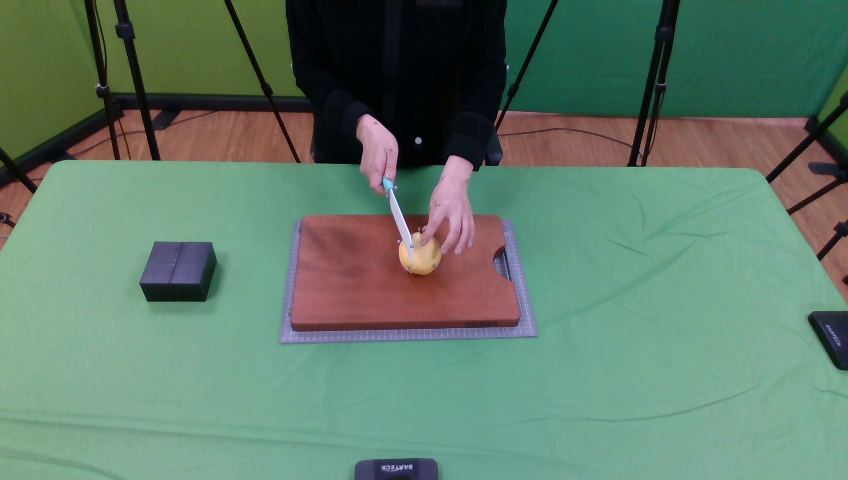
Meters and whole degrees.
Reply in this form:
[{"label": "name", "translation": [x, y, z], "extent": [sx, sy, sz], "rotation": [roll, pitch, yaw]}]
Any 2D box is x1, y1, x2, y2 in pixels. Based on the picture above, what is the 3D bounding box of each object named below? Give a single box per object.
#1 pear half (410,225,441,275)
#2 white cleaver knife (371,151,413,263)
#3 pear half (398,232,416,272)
[{"label": "pear half", "translation": [0.004, 0.013, 1.085], "extent": [0.056, 0.110, 0.076], "rotation": [2, 50, -4]}, {"label": "white cleaver knife", "translation": [-0.058, -0.064, 1.063], "extent": [0.021, 0.066, 0.284], "rotation": [-9, 41, -10]}, {"label": "pear half", "translation": [-0.031, 0.018, 1.092], "extent": [0.031, 0.088, 0.070], "rotation": [1, 51, -2]}]
